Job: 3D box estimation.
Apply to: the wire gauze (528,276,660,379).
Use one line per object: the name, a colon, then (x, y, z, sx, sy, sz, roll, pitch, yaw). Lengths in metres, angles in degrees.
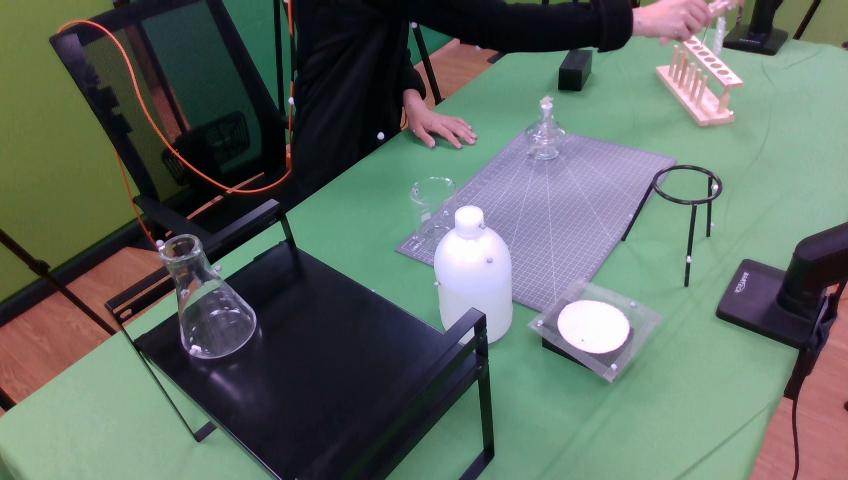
wire gauze: (0.213, 0.103, 0.763, 0.124, 0.011, 0.122, 30, 53, 35)

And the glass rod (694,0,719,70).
glass rod: (0.560, -0.401, 1.214, 0.008, 0.200, 0.008, -1, 49, 2)

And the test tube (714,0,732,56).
test tube: (0.534, -0.394, 1.076, 0.017, 0.151, 0.017, -8, 49, 10)

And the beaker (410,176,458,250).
beaker: (0.022, -0.041, 0.964, 0.073, 0.101, 0.084, 28, 51, 35)

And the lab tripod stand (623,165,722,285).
lab tripod stand: (0.365, -0.030, 0.875, 0.148, 0.132, 0.147, -6, 41, 6)

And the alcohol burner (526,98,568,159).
alcohol burner: (0.227, -0.210, 1.118, 0.078, 0.119, 0.077, -5, 43, 5)

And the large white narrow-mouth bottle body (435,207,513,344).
large white narrow-mouth bottle body: (0.065, 0.041, 0.791, 0.102, 0.195, 0.101, -4, 41, 4)

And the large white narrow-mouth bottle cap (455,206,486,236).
large white narrow-mouth bottle cap: (0.057, -0.023, 0.734, 0.038, 0.024, 0.037, -4, 40, 4)

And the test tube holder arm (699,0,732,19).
test tube holder arm: (0.508, -0.400, 1.054, 0.088, 0.015, 0.010, -37, 44, -21)

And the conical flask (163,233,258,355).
conical flask: (-0.217, 0.051, 0.601, 0.075, 0.122, 0.075, -4, 40, 4)

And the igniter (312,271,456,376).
igniter: (-0.068, 0.111, 0.859, 0.274, 0.025, 0.057, 27, 61, 34)

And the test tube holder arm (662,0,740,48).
test tube holder arm: (0.476, -0.373, 1.036, 0.179, 0.015, 0.013, -32, 42, -16)

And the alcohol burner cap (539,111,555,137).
alcohol burner cap: (0.243, -0.232, 1.197, 0.034, 0.048, 0.033, -4, 39, 4)

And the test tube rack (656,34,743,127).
test tube rack: (0.553, -0.331, 1.233, 0.067, 0.085, 0.241, -7, 40, 2)
